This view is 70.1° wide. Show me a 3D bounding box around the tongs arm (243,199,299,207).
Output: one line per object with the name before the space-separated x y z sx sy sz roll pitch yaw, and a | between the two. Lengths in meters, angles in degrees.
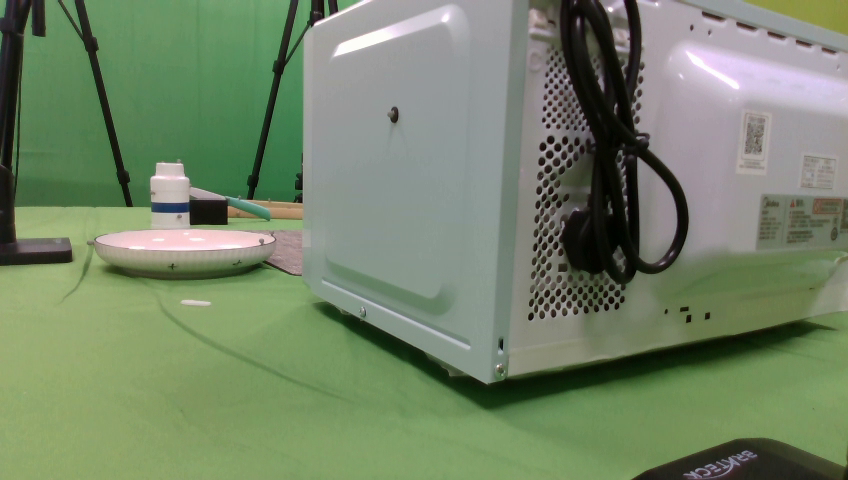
tongs arm | -0.309 -0.079 1.487 0.385 0.026 0.050 3 7 -2

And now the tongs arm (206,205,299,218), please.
tongs arm | -0.302 -0.065 1.407 0.389 0.028 0.028 1 4 -15

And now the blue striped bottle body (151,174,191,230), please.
blue striped bottle body | -0.439 -0.071 1.052 0.063 0.120 0.063 2 7 0

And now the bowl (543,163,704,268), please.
bowl | 0.181 -0.020 0.584 0.151 0.077 0.151 13 7 -1

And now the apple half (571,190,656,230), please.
apple half | 0.181 -0.031 0.583 0.081 0.033 0.081 11 -4 1

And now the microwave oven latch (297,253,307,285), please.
microwave oven latch | -0.082 0.027 0.582 0.079 0.029 0.030 -1 7 -33

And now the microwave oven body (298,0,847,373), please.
microwave oven body | 0.151 -0.055 0.542 0.444 0.260 0.324 -1 7 -33

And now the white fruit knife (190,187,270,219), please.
white fruit knife | -0.413 -0.081 1.270 0.208 0.027 0.016 17 14 -41

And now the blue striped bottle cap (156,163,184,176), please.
blue striped bottle cap | -0.438 -0.122 1.045 0.044 0.020 0.044 5 6 0

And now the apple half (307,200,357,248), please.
apple half | -0.135 -0.024 0.941 0.053 0.074 0.081 13 8 38

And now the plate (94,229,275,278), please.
plate | -0.291 0.016 0.749 0.208 0.039 0.207 2 7 0

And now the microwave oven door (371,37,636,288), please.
microwave oven door | 0.109 -0.080 0.686 0.358 0.243 0.039 -2 9 -33
